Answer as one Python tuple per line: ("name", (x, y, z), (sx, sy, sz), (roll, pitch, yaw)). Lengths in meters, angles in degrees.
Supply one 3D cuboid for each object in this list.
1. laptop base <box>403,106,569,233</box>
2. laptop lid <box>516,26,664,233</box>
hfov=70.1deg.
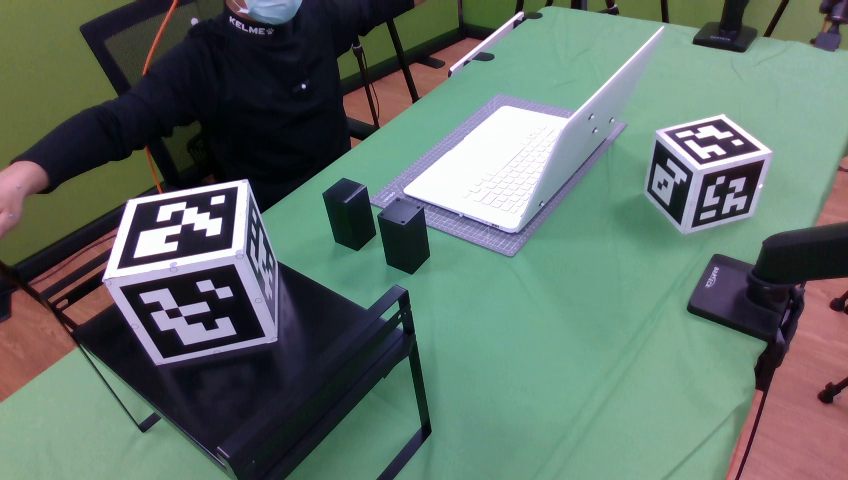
("laptop base", (0.156, -0.144, 1.116), (0.233, 0.023, 0.355), (20, 47, 32))
("laptop lid", (0.268, -0.178, 0.966), (0.013, 0.242, 0.357), (35, 52, 16))
